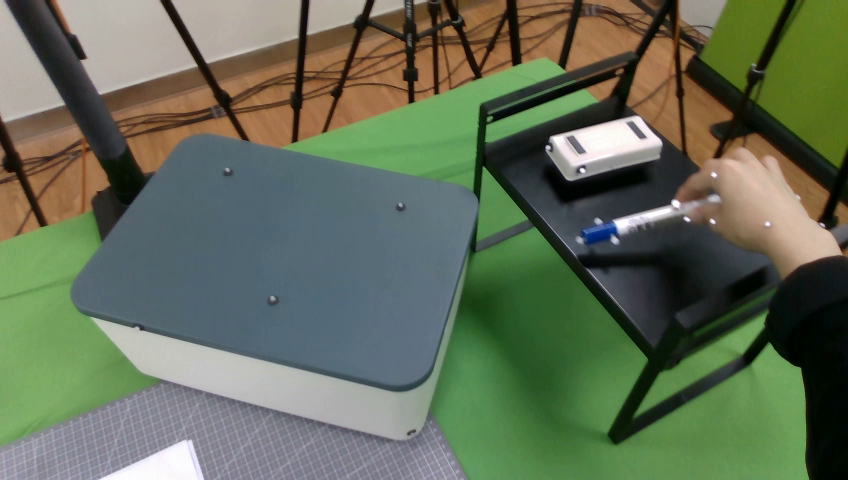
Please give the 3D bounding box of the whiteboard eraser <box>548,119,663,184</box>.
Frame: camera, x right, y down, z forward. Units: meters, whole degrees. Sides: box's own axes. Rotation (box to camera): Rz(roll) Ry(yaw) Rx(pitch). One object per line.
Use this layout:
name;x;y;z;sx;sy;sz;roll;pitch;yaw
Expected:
whiteboard eraser;0.198;-0.095;0.663;0.113;0.042;0.055;-14;54;-12

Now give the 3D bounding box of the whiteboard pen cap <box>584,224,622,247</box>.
whiteboard pen cap;0.174;-0.004;0.587;0.033;0.018;0.018;-14;51;1

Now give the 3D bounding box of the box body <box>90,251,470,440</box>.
box body;-0.141;0.054;0.694;0.363;0.162;0.252;12;51;9

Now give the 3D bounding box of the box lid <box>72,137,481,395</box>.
box lid;-0.143;0.006;0.637;0.371;0.015;0.261;12;51;9

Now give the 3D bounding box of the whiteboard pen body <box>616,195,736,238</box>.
whiteboard pen body;0.230;-0.020;0.586;0.141;0.017;0.017;-14;51;3
